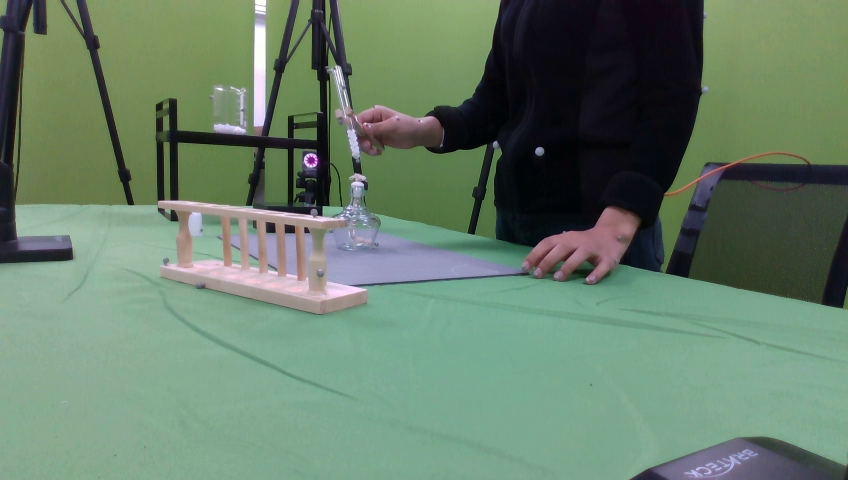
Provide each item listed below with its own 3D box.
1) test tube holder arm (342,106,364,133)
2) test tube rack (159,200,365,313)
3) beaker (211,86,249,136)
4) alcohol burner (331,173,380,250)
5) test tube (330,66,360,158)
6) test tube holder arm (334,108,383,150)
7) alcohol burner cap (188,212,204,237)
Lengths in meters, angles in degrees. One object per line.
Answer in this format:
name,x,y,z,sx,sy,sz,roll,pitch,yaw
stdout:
test tube holder arm,-0.110,-0.188,0.953,0.010,0.015,0.088,-12,-12,8
test tube rack,-0.173,0.009,0.624,0.241,0.085,0.067,7,9,34
beaker,-0.413,-0.274,1.297,0.074,0.100,0.083,-5,11,-44
alcohol burner,-0.106,-0.044,0.930,0.078,0.119,0.078,3,6,0
test tube,-0.122,-0.198,0.933,0.017,0.150,0.017,-14,-9,-2
test tube holder arm,-0.105,-0.180,0.997,0.013,0.015,0.179,-13,-12,14
alcohol burner cap,-0.389,-0.029,1.026,0.034,0.048,0.034,3,8,0
